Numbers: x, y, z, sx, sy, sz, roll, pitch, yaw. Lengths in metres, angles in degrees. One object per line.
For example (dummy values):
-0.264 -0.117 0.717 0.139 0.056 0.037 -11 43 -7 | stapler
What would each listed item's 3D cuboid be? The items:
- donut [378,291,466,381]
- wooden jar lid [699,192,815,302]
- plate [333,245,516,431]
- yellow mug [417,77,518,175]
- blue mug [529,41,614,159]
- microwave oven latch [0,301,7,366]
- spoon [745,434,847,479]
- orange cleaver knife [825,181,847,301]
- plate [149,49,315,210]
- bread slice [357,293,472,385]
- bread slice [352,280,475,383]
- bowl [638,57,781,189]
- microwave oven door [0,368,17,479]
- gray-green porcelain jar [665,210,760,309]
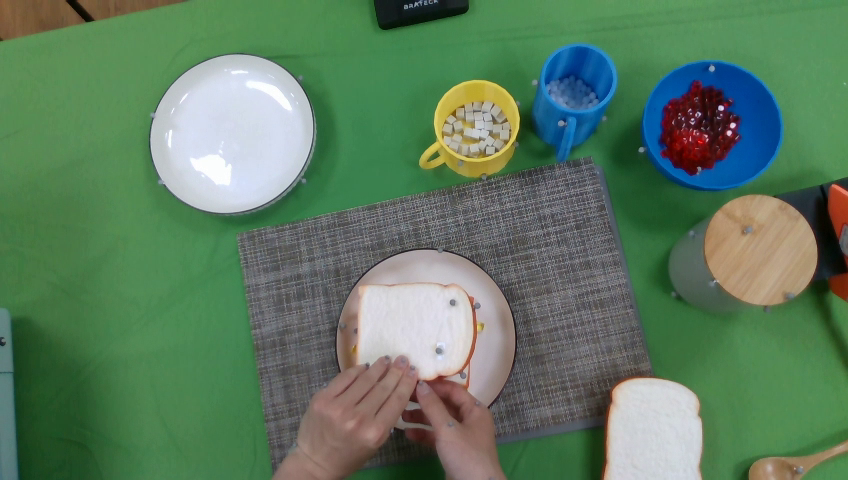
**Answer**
-0.002 0.106 0.673 0.099 0.048 0.099 0 89 -1 | donut
0.320 0.007 0.589 0.108 0.021 0.108 0 82 1 | wooden jar lid
0.001 0.110 0.697 0.209 0.038 0.208 -1 80 4 | plate
0.048 -0.126 0.725 0.131 0.064 0.099 -33 79 -1 | yellow mug
0.165 -0.152 0.702 0.082 0.106 0.116 9 81 6 | blue mug
-0.514 0.110 0.716 0.030 0.029 0.079 -7 80 2 | microwave oven latch
0.439 0.227 0.659 0.194 0.022 0.041 -22 61 0 | spoon
0.462 0.041 0.659 0.012 0.077 0.212 -13 106 3 | orange cleaver knife
-0.237 -0.135 0.760 0.207 0.039 0.207 -1 80 4 | plate
-0.012 0.111 0.698 0.131 0.019 0.104 1 80 6 | bread slice
-0.013 0.091 0.631 0.134 0.018 0.106 -8 74 19 | bread slice
0.317 -0.124 0.700 0.151 0.077 0.151 -1 80 4 | bowl
-0.488 0.305 0.578 0.039 0.245 0.354 -11 79 2 | microwave oven door
0.326 0.019 0.650 0.106 0.127 0.105 -1 80 4 | gray-green porcelain jar
